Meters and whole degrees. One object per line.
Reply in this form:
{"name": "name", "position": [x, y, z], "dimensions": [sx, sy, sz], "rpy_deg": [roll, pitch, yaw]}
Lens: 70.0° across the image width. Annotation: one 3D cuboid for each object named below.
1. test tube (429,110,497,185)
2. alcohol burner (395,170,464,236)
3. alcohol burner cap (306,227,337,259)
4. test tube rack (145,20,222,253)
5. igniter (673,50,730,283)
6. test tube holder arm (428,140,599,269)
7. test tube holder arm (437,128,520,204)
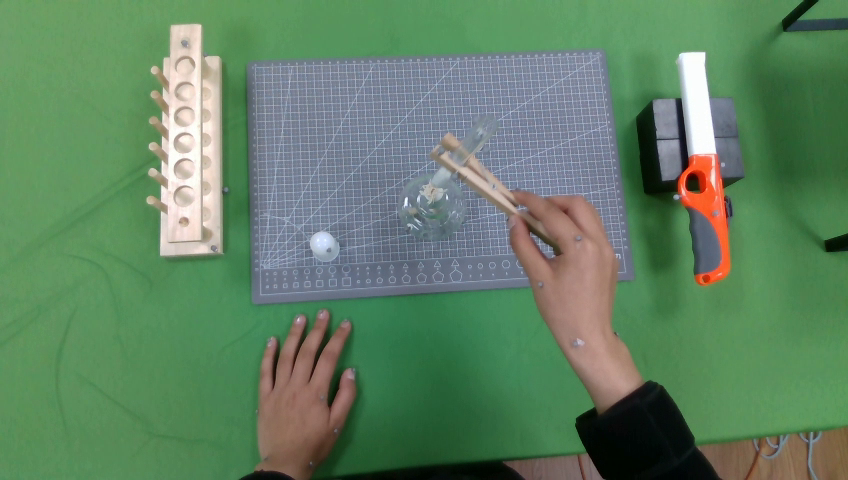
{"name": "test tube", "position": [0.029, -0.073, 0.507], "dimensions": [0.017, 0.150, 0.017], "rpy_deg": [3, 78, -14]}
{"name": "alcohol burner", "position": [0.007, -0.044, 0.668], "dimensions": [0.078, 0.119, 0.077], "rpy_deg": [0, 81, -2]}
{"name": "alcohol burner cap", "position": [-0.117, 0.001, 0.688], "dimensions": [0.034, 0.048, 0.033], "rpy_deg": [1, 78, -3]}
{"name": "test tube rack", "position": [-0.272, -0.113, 0.680], "dimensions": [0.067, 0.085, 0.241], "rpy_deg": [-3, 80, -3]}
{"name": "igniter", "position": [0.315, -0.088, 0.696], "dimensions": [0.057, 0.025, 0.275], "rpy_deg": [-1, 79, 2]}
{"name": "test tube holder arm", "position": [0.078, -0.028, 0.521], "dimensions": [0.179, 0.015, 0.013], "rpy_deg": [36, 73, -9]}
{"name": "test tube holder arm", "position": [0.047, -0.061, 0.517], "dimensions": [0.088, 0.015, 0.010], "rpy_deg": [44, 71, -6]}
